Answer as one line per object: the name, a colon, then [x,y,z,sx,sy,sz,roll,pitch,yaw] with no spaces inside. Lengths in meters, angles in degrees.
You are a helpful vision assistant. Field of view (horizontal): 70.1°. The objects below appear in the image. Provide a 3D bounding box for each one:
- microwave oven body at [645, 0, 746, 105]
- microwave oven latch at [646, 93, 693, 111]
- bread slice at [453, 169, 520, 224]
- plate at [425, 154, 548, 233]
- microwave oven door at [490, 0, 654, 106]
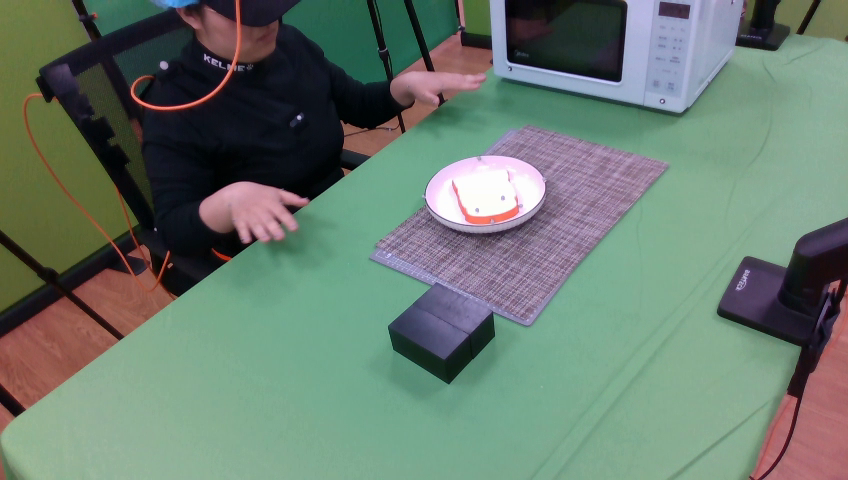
microwave oven body: [0.417,-0.486,1.290,0.438,0.261,0.327,22,50,33]
microwave oven latch: [0.477,-0.273,1.177,0.078,0.029,0.030,22,50,33]
bread slice: [0.112,-0.076,1.040,0.105,0.019,0.130,-11,40,-1]
plate: [0.108,-0.076,1.038,0.209,0.038,0.208,-5,39,5]
microwave oven door: [0.293,-0.420,1.228,0.353,0.245,0.039,22,49,32]
